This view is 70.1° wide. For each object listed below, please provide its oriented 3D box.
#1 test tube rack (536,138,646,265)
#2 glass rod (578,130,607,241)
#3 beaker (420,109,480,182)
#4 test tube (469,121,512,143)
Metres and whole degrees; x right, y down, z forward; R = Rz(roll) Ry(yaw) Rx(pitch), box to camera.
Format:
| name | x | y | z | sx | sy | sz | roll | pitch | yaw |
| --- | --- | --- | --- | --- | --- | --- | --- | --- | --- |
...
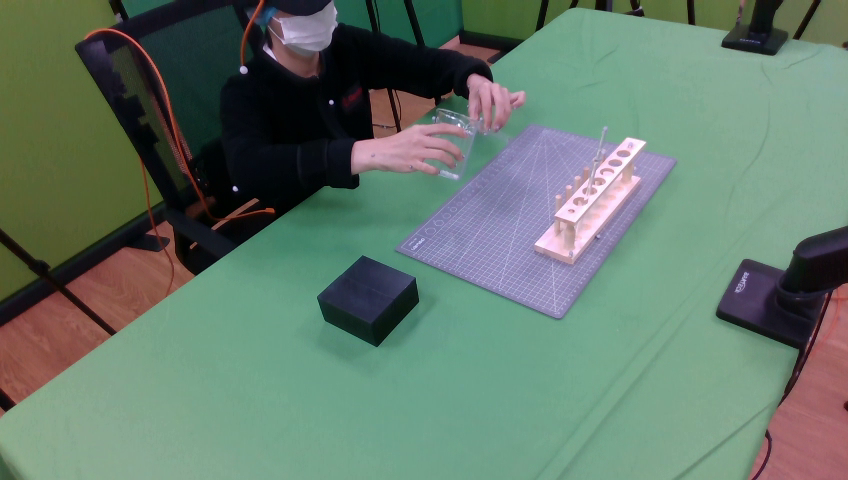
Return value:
| name | x | y | z | sx | sy | sz | roll | pitch | yaw |
| --- | --- | --- | --- | --- | --- | --- | --- | --- | --- |
| test tube rack | 0.268 | -0.071 | 0.964 | 0.066 | 0.085 | 0.243 | 23 | 49 | 32 |
| glass rod | 0.240 | -0.072 | 0.866 | 0.008 | 0.200 | 0.008 | 0 | 44 | 1 |
| beaker | 0.041 | -0.150 | 0.973 | 0.073 | 0.100 | 0.084 | 21 | 6 | 26 |
| test tube | 0.121 | -0.191 | 1.075 | 0.017 | 0.017 | 0.151 | 21 | 10 | 31 |
